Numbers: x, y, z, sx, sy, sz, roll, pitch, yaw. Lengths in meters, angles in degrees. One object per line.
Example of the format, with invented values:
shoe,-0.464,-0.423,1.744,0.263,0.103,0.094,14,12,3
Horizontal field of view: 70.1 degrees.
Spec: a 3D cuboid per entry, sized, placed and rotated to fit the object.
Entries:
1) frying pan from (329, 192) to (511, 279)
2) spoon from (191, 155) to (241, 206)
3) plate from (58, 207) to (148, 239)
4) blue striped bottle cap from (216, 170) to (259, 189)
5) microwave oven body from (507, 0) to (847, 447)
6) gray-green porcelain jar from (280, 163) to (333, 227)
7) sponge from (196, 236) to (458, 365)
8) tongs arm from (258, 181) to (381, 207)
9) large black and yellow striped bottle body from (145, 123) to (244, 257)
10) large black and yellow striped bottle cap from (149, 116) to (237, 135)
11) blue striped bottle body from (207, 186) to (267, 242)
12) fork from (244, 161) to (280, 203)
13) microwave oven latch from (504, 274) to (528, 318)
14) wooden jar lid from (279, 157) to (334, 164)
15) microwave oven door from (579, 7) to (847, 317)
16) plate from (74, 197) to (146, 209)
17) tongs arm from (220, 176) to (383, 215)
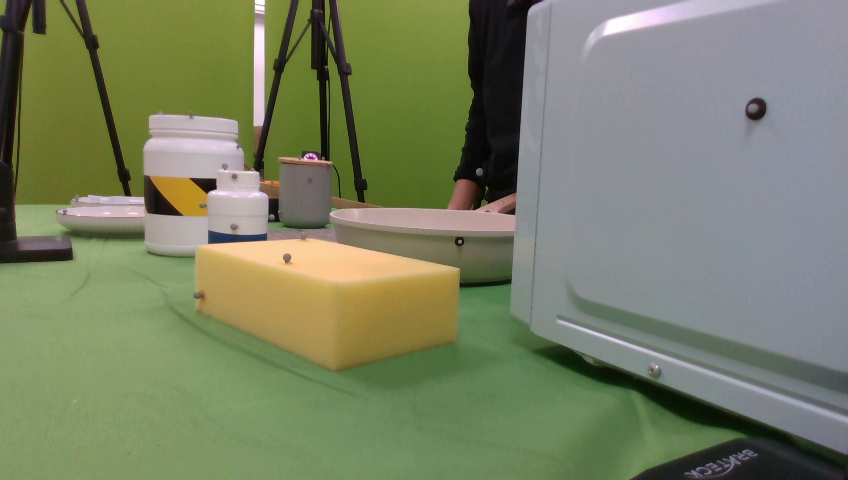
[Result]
frying pan,0.071,-0.030,0.883,0.305,0.102,0.490,7,17,27
spoon,-0.489,-0.136,1.418,0.041,0.021,0.194,2,-35,19
plate,-0.496,-0.030,1.022,0.209,0.038,0.209,2,8,0
blue striped bottle cap,-0.201,-0.066,0.654,0.044,0.020,0.044,0,6,0
microwave oven body,0.331,-0.042,0.425,0.444,0.260,0.324,-2,8,-31
gray-green porcelain jar,-0.238,-0.092,1.221,0.106,0.126,0.106,2,7,0
sponge,-0.087,0.039,0.500,0.206,0.061,0.119,8,9,44
tongs arm,-0.241,-0.095,1.373,0.387,0.026,0.050,9,0,-37
large black and yellow striped bottle body,-0.320,-0.075,0.851,0.131,0.184,0.130,2,8,0
large black and yellow striped bottle cap,-0.319,-0.158,0.841,0.115,0.019,0.115,3,7,0
blue striped bottle body,-0.204,-0.016,0.661,0.063,0.120,0.063,2,7,0
fork,-0.398,-0.144,1.489,0.028,0.018,0.208,23,-23,47
microwave oven latch,0.100,0.041,0.471,0.079,0.029,0.030,-1,7,-28
wooden jar lid,-0.237,-0.154,1.213,0.108,0.020,0.108,6,9,-1
microwave oven door,0.294,-0.067,0.570,0.358,0.243,0.039,-3,9,-31
plate,-0.596,-0.062,1.238,0.208,0.039,0.207,2,8,0
tongs arm,-0.285,-0.104,1.445,0.389,0.027,0.028,9,-4,-23
